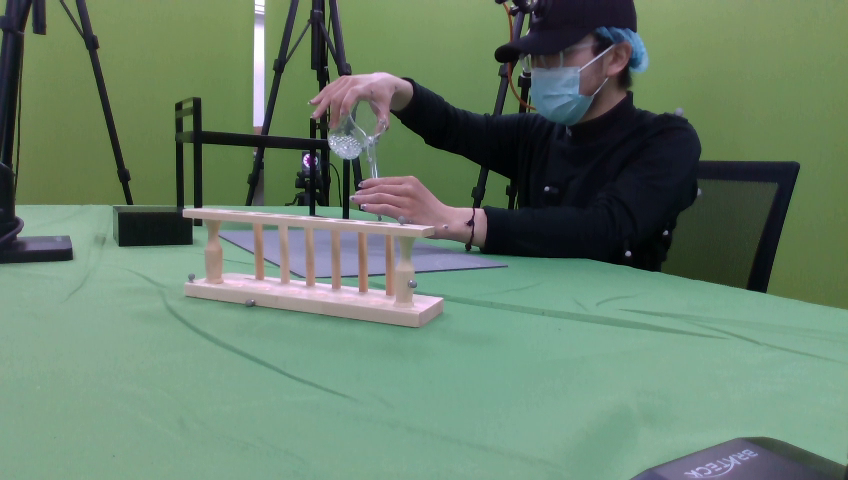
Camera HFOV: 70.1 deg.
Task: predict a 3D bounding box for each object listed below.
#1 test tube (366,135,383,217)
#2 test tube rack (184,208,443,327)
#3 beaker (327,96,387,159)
[{"bbox_3d":[-0.082,-0.107,0.995,0.017,0.150,0.017,-7,-23,-2],"label":"test tube"},{"bbox_3d":[-0.106,0.019,0.570,0.241,0.085,0.067,5,7,20],"label":"test tube rack"},{"bbox_3d":[-0.122,-0.192,1.070,0.074,0.083,0.100,3,-24,-34],"label":"beaker"}]
